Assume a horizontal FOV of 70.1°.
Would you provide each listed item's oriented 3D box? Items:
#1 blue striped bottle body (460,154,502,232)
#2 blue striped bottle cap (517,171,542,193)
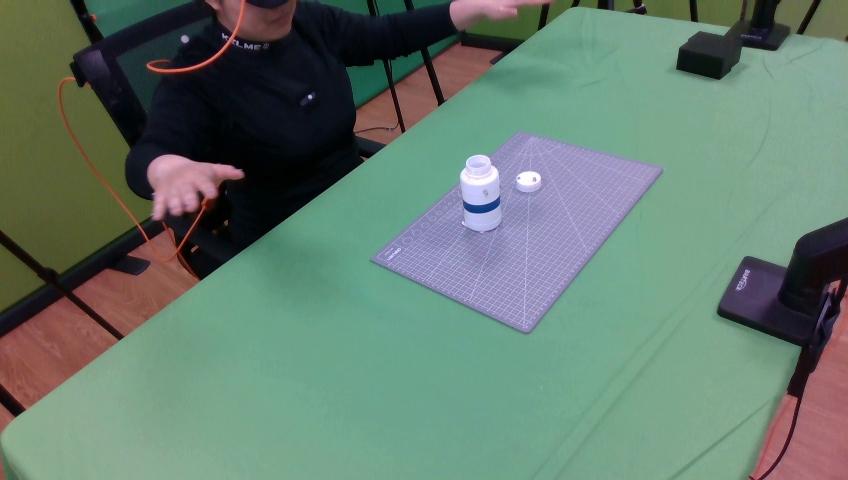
[{"bbox_3d":[0.092,-0.078,0.976,0.063,0.121,0.063,-6,40,5],"label":"blue striped bottle body"},{"bbox_3d":[0.187,-0.103,1.072,0.044,0.021,0.044,-5,42,5],"label":"blue striped bottle cap"}]
